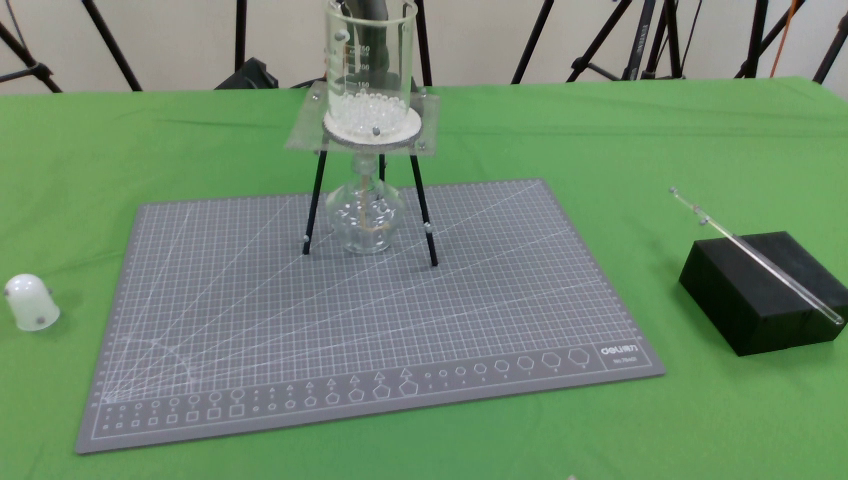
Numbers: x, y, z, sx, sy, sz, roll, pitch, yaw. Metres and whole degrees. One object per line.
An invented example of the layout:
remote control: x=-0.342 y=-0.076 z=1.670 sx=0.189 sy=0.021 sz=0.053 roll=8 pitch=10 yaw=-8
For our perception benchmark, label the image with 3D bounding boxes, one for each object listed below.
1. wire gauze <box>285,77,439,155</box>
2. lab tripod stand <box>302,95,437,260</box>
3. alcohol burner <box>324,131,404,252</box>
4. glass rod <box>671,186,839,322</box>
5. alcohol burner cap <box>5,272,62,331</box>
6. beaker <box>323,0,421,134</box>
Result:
wire gauze: x=-0.048 y=-0.109 z=0.532 sx=0.121 sy=0.011 sz=0.124 roll=4 pitch=42 yaw=0
lab tripod stand: x=-0.045 y=-0.057 z=0.574 sx=0.148 sy=0.132 sz=0.147 roll=4 pitch=39 yaw=-3
alcohol burner: x=-0.057 y=-0.049 z=0.578 sx=0.078 sy=0.120 sz=0.077 roll=2 pitch=38 yaw=-1
glass rod: x=0.294 y=0.006 z=0.555 sx=0.008 sy=0.008 sz=0.197 roll=-13 pitch=43 yaw=-19
alcohol burner cap: x=-0.323 y=0.048 z=0.497 sx=0.034 sy=0.048 sz=0.033 roll=2 pitch=39 yaw=-1
beaker: x=-0.047 y=-0.147 z=0.502 sx=0.083 sy=0.101 sz=0.074 roll=29 pitch=45 yaw=25
